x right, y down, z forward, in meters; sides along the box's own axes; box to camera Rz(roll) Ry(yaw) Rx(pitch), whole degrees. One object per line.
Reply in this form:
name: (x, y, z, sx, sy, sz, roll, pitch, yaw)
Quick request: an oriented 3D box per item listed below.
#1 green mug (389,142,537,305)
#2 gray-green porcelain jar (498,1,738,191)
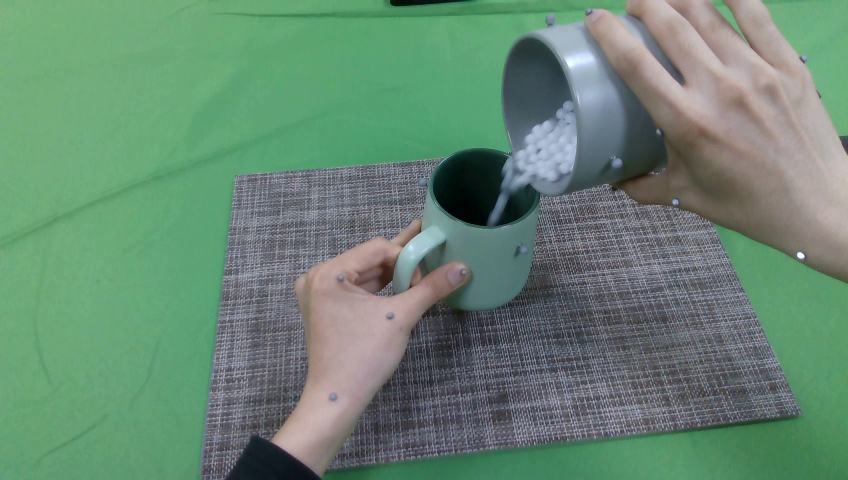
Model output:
green mug: (0.026, -0.001, 0.456, 0.125, 0.106, 0.091, -35, 62, -25)
gray-green porcelain jar: (0.128, -0.098, 0.402, 0.127, 0.107, 0.104, -15, 55, -14)
